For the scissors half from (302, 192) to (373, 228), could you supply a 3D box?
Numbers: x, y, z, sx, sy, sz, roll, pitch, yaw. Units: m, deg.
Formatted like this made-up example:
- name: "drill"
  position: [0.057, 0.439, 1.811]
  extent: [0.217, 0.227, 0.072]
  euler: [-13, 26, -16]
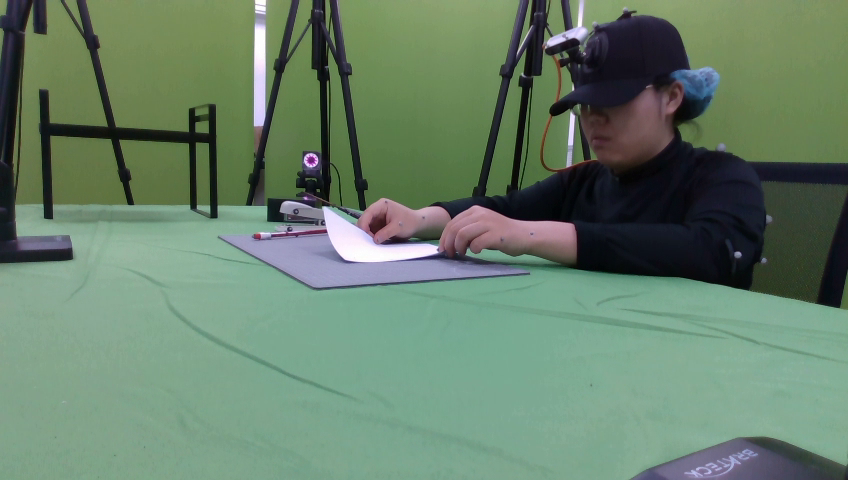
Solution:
- name: "scissors half"
  position: [-0.191, -0.068, 1.314]
  extent: [0.175, 0.013, 0.040]
  euler: [26, 17, 7]

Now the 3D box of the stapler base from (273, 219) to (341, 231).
- name: "stapler base"
  position: [-0.226, -0.030, 1.172]
  extent: [0.131, 0.024, 0.041]
  euler: [0, 10, -34]

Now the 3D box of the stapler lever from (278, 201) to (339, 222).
- name: "stapler lever"
  position: [-0.223, -0.054, 1.170]
  extent: [0.119, 0.040, 0.026]
  euler: [-1, 11, -34]

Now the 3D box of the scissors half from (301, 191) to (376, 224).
- name: "scissors half"
  position: [-0.189, -0.073, 1.334]
  extent: [0.175, 0.013, 0.040]
  euler: [22, 12, -10]

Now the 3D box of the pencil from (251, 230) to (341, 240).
- name: "pencil"
  position: [-0.215, -0.011, 1.049]
  extent: [0.012, 0.012, 0.195]
  euler: [9, 9, 39]
